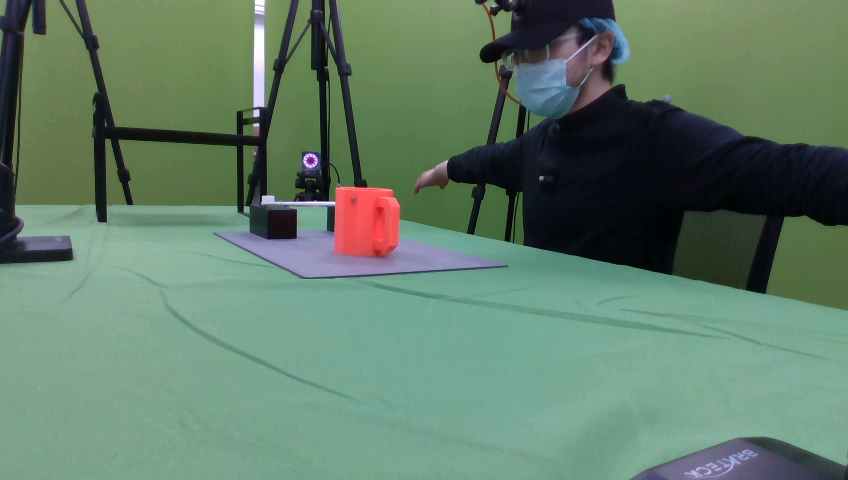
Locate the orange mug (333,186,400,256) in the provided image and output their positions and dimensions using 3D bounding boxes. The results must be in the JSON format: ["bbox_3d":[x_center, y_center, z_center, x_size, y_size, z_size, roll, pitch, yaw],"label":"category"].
[{"bbox_3d":[-0.080,-0.029,0.888,0.084,0.100,0.125,-3,5,-40],"label":"orange mug"}]

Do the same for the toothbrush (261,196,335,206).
[{"bbox_3d":[-0.200,-0.068,1.073,0.183,0.016,0.014,-1,-7,-34],"label":"toothbrush"}]
